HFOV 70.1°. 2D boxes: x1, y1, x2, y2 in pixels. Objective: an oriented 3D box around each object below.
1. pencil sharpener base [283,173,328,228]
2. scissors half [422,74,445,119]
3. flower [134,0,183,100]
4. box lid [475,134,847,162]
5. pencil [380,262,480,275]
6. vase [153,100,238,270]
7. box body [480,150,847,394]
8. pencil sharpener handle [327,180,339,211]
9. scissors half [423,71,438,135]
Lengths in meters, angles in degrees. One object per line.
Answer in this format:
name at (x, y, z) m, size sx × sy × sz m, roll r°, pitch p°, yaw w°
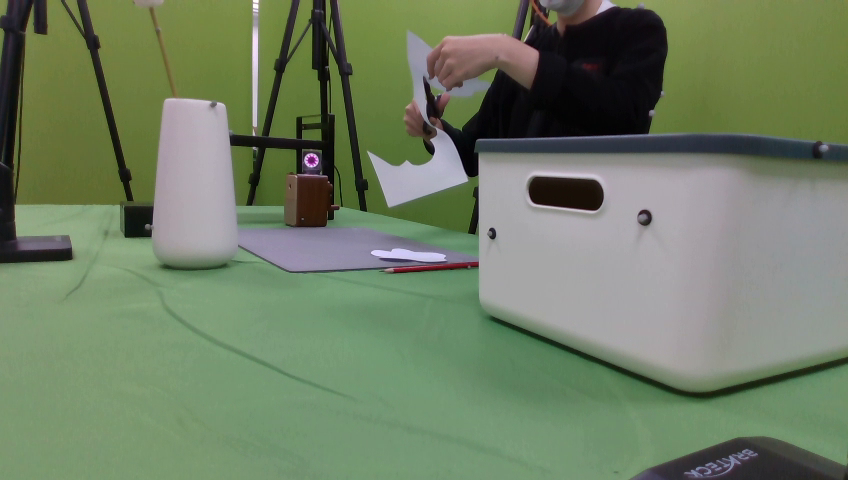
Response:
pencil sharpener base at (-0.239, -0.081, 1.231) m, size 0.077 × 0.107 × 0.061 m, roll -2°, pitch 8°, yaw -36°
scissors half at (0.016, -0.263, 1.096) m, size 0.013 × 0.040 × 0.175 m, roll 18°, pitch -2°, yaw 15°
flower at (-0.282, -0.147, 0.713) m, size 0.038 × 0.362 × 0.044 m, roll -23°, pitch 24°, yaw -31°
box lid at (0.256, -0.073, 0.528) m, size 0.373 × 0.015 × 0.262 m, roll -2°, pitch 8°, yaw -31°
pencil at (0.030, 0.036, 0.794) m, size 0.195 × 0.012 × 0.012 m, roll -3°, pitch 9°, yaw -30°
vase at (-0.278, -0.066, 0.736) m, size 0.098 × 0.200 × 0.098 m, roll 2°, pitch 9°, yaw 0°
box body at (0.254, 0.001, 0.539) m, size 0.366 × 0.160 × 0.253 m, roll -2°, pitch 9°, yaw -31°
pencil sharpener handle at (-0.194, -0.094, 1.256) m, size 0.031 × 0.067 × 0.036 m, roll -2°, pitch -5°, yaw -36°
scissors half at (0.007, -0.245, 1.091) m, size 0.013 × 0.040 × 0.175 m, roll 24°, pitch -23°, yaw 16°
